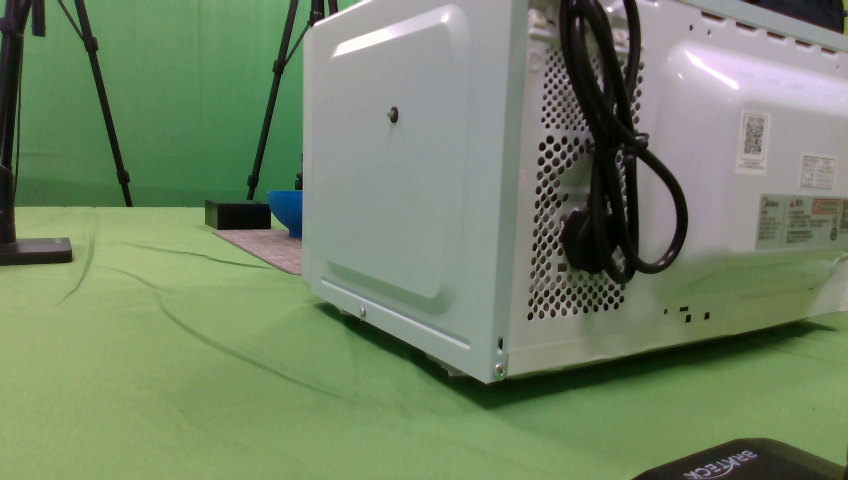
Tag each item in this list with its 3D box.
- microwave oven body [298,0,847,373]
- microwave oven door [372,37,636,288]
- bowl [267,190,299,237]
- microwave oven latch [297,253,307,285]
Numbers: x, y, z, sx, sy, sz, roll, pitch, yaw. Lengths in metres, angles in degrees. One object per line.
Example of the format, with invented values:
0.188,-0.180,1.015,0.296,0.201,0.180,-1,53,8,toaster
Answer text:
0.151,-0.055,0.543,0.444,0.260,0.324,-2,7,-33,microwave oven body
0.110,-0.080,0.686,0.358,0.243,0.039,-2,9,-33,microwave oven door
-0.202,-0.046,1.070,0.151,0.077,0.151,3,7,0,bowl
-0.082,0.027,0.582,0.079,0.029,0.030,-1,7,-32,microwave oven latch
